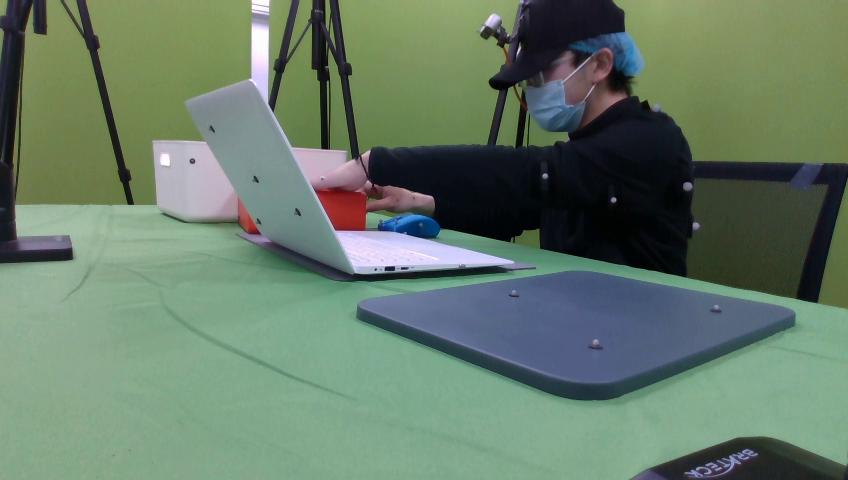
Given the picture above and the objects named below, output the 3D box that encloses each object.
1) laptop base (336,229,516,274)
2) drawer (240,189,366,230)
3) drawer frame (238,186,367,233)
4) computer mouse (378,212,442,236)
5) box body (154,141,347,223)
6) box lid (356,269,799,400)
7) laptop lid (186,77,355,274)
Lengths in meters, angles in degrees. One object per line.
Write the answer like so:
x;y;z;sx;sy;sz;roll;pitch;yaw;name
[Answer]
-0.065;0.014;0.877;0.237;0.023;0.352;2;6;-32;laptop base
-0.235;-0.061;1.159;0.213;0.073;0.193;-1;7;-22;drawer
-0.237;-0.063;1.157;0.214;0.082;0.201;-2;8;-23;drawer frame
-0.026;-0.030;1.141;0.118;0.041;0.062;-4;13;-33;computer mouse
-0.384;-0.132;1.346;0.366;0.160;0.253;-3;9;-36;box body
0.152;0.068;0.564;0.374;0.015;0.262;-4;10;-41;box lid
-0.211;-0.081;0.772;0.013;0.242;0.355;-35;25;-23;laptop lid
